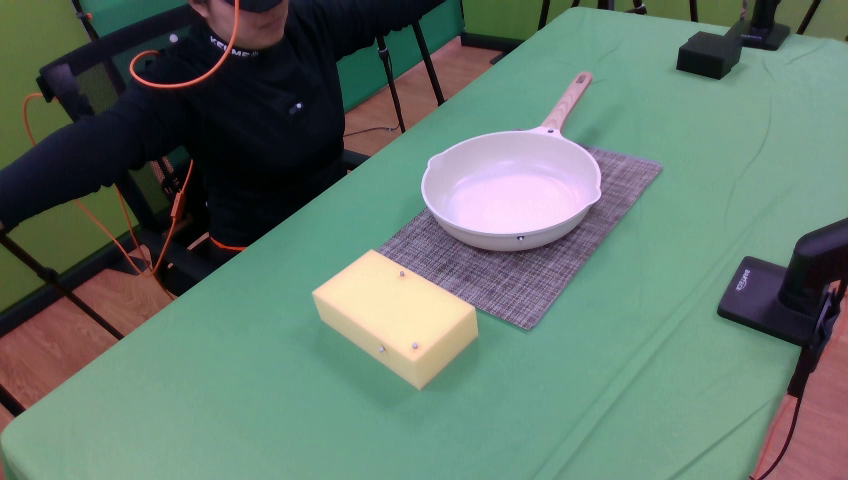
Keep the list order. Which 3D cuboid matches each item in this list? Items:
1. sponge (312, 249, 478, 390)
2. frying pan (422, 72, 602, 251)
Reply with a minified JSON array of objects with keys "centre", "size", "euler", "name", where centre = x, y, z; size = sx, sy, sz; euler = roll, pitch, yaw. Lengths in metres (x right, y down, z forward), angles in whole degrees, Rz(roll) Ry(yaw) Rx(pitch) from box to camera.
[{"centre":[-0.042,0.103,0.843],"size":[0.205,0.061,0.118],"euler":[27,52,35],"name":"sponge"},{"centre":[0.199,-0.155,1.062],"size":[0.304,0.103,0.488],"euler":[19,56,28],"name":"frying pan"}]
